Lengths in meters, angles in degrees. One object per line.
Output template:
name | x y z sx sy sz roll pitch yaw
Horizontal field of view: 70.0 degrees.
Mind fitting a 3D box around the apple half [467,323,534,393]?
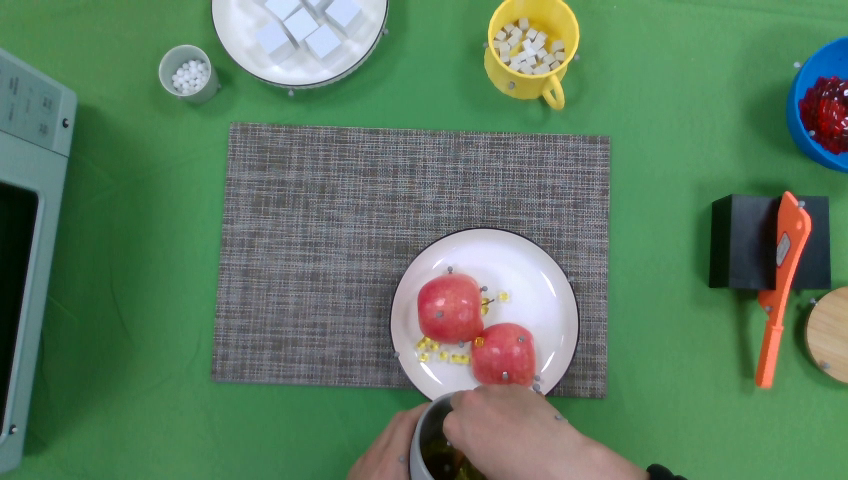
apple half | 0.085 0.130 0.663 0.081 0.033 0.081 0 81 1

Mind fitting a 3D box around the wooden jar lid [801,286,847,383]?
wooden jar lid | 0.473 0.105 0.674 0.108 0.021 0.108 0 85 3

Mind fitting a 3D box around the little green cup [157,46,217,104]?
little green cup | -0.276 -0.191 0.713 0.061 0.039 0.061 0 85 1

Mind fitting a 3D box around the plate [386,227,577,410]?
plate | 0.062 0.090 0.674 0.209 0.038 0.208 0 85 1

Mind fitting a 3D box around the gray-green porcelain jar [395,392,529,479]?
gray-green porcelain jar | 0.030 0.221 0.570 0.106 0.127 0.105 8 45 -8

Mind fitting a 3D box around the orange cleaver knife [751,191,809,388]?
orange cleaver knife | 0.373 0.056 0.651 0.012 0.077 0.212 4 108 5

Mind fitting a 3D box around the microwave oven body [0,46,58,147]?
microwave oven body | -0.596 0.007 0.588 0.326 0.260 0.440 6 85 2

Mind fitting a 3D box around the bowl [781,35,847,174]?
bowl | 0.460 -0.139 0.669 0.151 0.077 0.151 0 85 2

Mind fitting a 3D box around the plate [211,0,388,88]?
plate | -0.144 -0.277 0.720 0.207 0.039 0.207 0 84 2

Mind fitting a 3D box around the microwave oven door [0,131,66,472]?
microwave oven door | -0.454 0.063 0.574 0.039 0.244 0.355 5 84 3

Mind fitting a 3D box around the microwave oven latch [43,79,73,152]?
microwave oven latch | -0.428 -0.144 0.695 0.030 0.029 0.079 9 85 2

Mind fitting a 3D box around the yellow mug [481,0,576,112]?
yellow mug | 0.124 -0.206 0.691 0.100 0.064 0.130 -26 85 -1

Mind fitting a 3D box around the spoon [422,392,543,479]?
spoon | 0.043 0.185 0.546 0.022 0.194 0.041 13 46 -27

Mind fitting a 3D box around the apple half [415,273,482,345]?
apple half | 0.026 0.075 0.662 0.074 0.053 0.080 0 85 4
